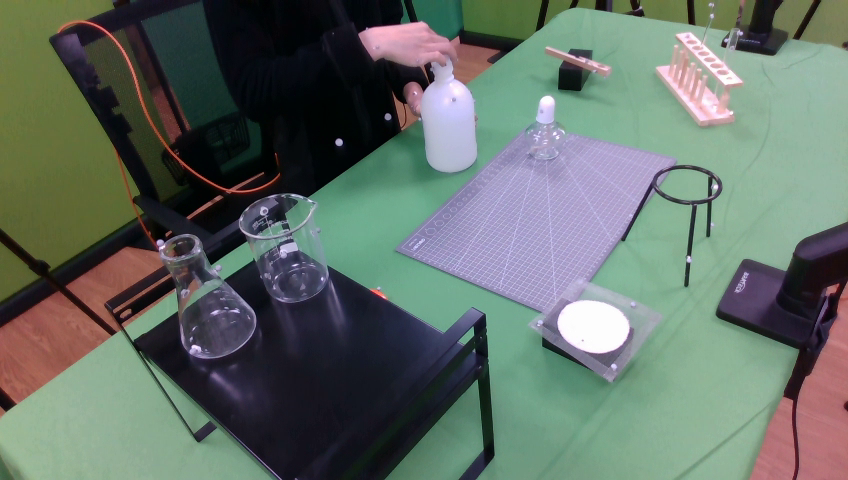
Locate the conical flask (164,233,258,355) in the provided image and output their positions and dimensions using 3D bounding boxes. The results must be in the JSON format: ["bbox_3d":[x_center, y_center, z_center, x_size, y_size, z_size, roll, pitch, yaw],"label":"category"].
[{"bbox_3d":[-0.217,0.051,0.601,0.075,0.122,0.075,-4,40,4],"label":"conical flask"}]

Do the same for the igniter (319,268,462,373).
[{"bbox_3d":[-0.059,0.107,0.862,0.274,0.025,0.057,28,62,34],"label":"igniter"}]

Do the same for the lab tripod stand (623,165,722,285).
[{"bbox_3d":[0.365,-0.030,0.875,0.148,0.132,0.147,-6,41,6],"label":"lab tripod stand"}]

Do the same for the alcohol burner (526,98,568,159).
[{"bbox_3d":[0.228,-0.210,1.118,0.078,0.119,0.077,-5,43,5],"label":"alcohol burner"}]

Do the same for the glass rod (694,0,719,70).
[{"bbox_3d":[0.560,-0.402,1.214,0.008,0.200,0.008,-1,49,2],"label":"glass rod"}]

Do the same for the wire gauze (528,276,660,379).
[{"bbox_3d":[0.213,0.103,0.763,0.124,0.011,0.122,30,52,35],"label":"wire gauze"}]

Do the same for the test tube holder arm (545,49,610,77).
[{"bbox_3d":[0.330,-0.386,1.314,0.013,0.015,0.177,-26,43,-30],"label":"test tube holder arm"}]

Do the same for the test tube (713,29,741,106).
[{"bbox_3d":[0.572,-0.324,1.146,0.017,0.151,0.017,-3,39,3],"label":"test tube"}]

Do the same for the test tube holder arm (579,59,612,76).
[{"bbox_3d":[0.363,-0.368,1.289,0.010,0.015,0.087,-26,43,-30],"label":"test tube holder arm"}]

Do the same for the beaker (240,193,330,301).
[{"bbox_3d":[-0.144,0.009,0.656,0.084,0.101,0.073,-25,43,-19],"label":"beaker"}]

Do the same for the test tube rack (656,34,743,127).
[{"bbox_3d":[0.553,-0.330,1.233,0.067,0.085,0.241,-7,40,2],"label":"test tube rack"}]

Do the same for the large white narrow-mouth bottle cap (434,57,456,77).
[{"bbox_3d":[0.037,-0.300,1.049,0.038,0.024,0.037,-4,40,4],"label":"large white narrow-mouth bottle cap"}]

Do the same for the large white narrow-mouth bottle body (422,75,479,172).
[{"bbox_3d":[0.047,-0.229,1.111,0.102,0.195,0.101,-4,40,4],"label":"large white narrow-mouth bottle body"}]

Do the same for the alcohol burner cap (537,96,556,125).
[{"bbox_3d":[0.223,-0.237,1.095,0.034,0.048,0.033,-1,42,1],"label":"alcohol burner cap"}]
